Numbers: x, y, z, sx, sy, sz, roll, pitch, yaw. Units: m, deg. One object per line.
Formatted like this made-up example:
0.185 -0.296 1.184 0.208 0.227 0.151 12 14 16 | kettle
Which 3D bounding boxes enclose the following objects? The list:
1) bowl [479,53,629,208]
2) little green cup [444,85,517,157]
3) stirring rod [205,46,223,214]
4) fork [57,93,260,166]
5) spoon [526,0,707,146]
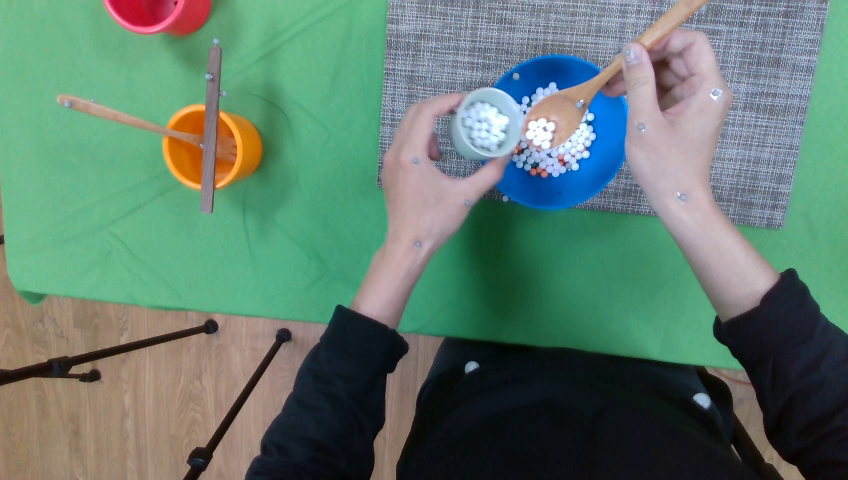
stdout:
0.130 -0.112 0.631 0.151 0.076 0.152 1 102 8 | bowl
0.048 -0.103 0.541 0.062 0.038 0.061 2 84 -17 | little green cup
-0.223 -0.114 0.643 0.014 0.006 0.176 8 102 8 | stirring rod
-0.276 -0.118 0.652 0.209 0.018 0.028 14 110 -40 | fork
0.148 -0.133 0.460 0.041 0.021 0.194 50 139 -1 | spoon
